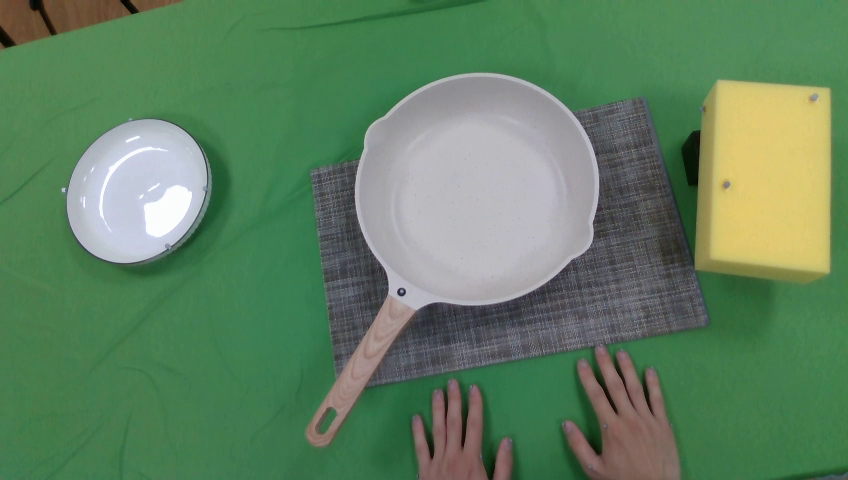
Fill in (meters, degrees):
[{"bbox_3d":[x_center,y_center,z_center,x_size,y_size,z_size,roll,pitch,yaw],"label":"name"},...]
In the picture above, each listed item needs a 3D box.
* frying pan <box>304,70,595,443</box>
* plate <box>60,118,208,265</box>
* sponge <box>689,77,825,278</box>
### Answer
[{"bbox_3d":[0.003,0.020,0.721,0.305,0.103,0.486,30,74,15],"label":"frying pan"},{"bbox_3d":[-0.392,-0.064,0.833,0.207,0.039,0.206,-2,76,7],"label":"plate"},{"bbox_3d":[0.365,-0.069,0.667,0.118,0.061,0.206,6,77,9],"label":"sponge"}]
